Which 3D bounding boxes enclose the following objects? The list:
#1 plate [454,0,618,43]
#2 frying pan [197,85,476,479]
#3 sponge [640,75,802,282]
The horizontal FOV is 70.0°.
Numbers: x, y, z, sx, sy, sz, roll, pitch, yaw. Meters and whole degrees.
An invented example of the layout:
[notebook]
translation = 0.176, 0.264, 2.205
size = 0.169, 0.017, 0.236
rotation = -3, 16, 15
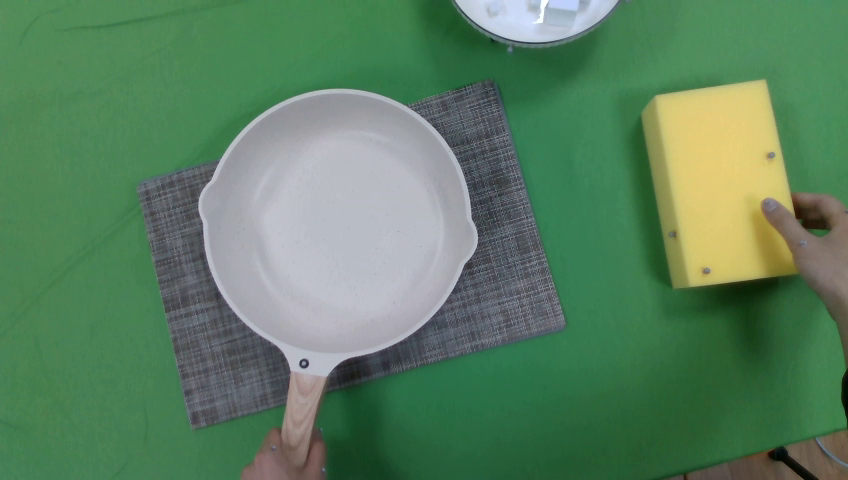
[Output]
[plate]
translation = 0.121, -0.309, 0.655
size = 0.207, 0.039, 0.207
rotation = 0, 85, 3
[frying pan]
translation = -0.113, 0.078, 0.654
size = 0.306, 0.103, 0.486
rotation = 9, 78, 7
[sponge]
translation = 0.315, -0.062, 0.655
size = 0.118, 0.061, 0.206
rotation = -9, 85, 5
